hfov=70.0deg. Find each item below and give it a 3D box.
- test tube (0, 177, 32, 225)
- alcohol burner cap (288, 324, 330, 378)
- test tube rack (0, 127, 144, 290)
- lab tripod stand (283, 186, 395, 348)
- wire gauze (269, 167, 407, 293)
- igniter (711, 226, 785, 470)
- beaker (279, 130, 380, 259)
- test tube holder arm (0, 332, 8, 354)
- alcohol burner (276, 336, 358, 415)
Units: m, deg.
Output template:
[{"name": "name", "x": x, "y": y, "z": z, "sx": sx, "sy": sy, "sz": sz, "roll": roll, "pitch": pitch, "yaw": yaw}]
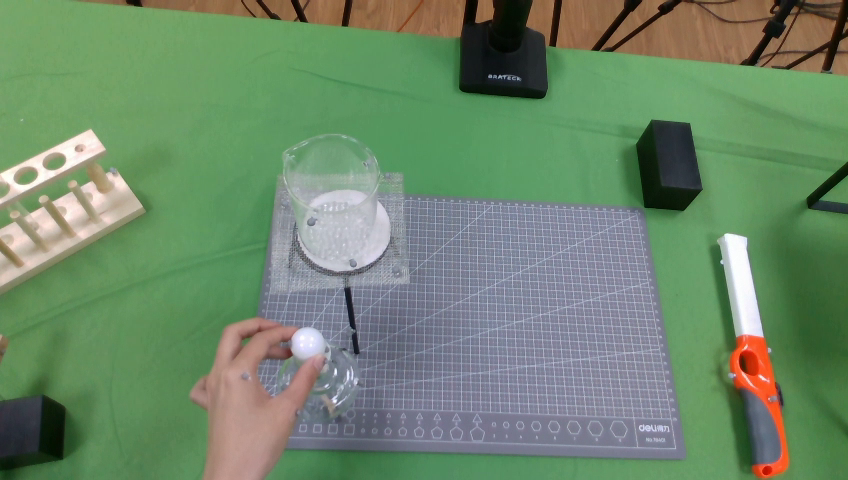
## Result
[{"name": "test tube", "x": -0.424, "y": -0.059, "z": 0.595, "sx": 0.017, "sy": 0.151, "sz": 0.017, "roll": 3, "pitch": 58, "yaw": -4}, {"name": "alcohol burner cap", "x": -0.099, "y": 0.091, "z": 0.511, "sx": 0.034, "sy": 0.048, "sz": 0.033, "roll": 1, "pitch": 48, "yaw": 0}, {"name": "test tube rack", "x": -0.431, "y": -0.013, "z": 0.626, "sx": 0.242, "sy": 0.086, "sz": 0.066, "roll": -35, "pitch": 71, "yaw": -21}, {"name": "lab tripod stand", "x": -0.082, "y": 0.021, "z": 0.612, "sx": 0.148, "sy": 0.132, "sz": 0.147, "roll": 3, "pitch": 63, "yaw": -6}, {"name": "wire gauze", "x": -0.080, "y": -0.014, "z": 0.557, "sx": 0.121, "sy": 0.011, "sz": 0.124, "roll": -2, "pitch": 67, "yaw": -5}, {"name": "igniter", "x": 0.355, "y": 0.110, "z": 0.670, "sx": 0.057, "sy": 0.025, "sz": 0.274, "roll": 10, "pitch": 62, "yaw": -12}, {"name": "beaker", "x": -0.080, "y": -0.034, "z": 0.512, "sx": 0.084, "sy": 0.101, "sz": 0.073, "roll": 26, "pitch": 64, "yaw": 8}, {"name": "test tube holder arm", "x": -0.397, "y": 0.125, "z": 0.543, "sx": 0.010, "sy": 0.015, "sz": 0.087, "roll": 6, "pitch": 61, "yaw": -2}, {"name": "alcohol burner", "x": -0.101, "y": 0.122, "z": 0.569, "sx": 0.078, "sy": 0.120, "sz": 0.077, "roll": 3, "pitch": 61, "yaw": -6}]
